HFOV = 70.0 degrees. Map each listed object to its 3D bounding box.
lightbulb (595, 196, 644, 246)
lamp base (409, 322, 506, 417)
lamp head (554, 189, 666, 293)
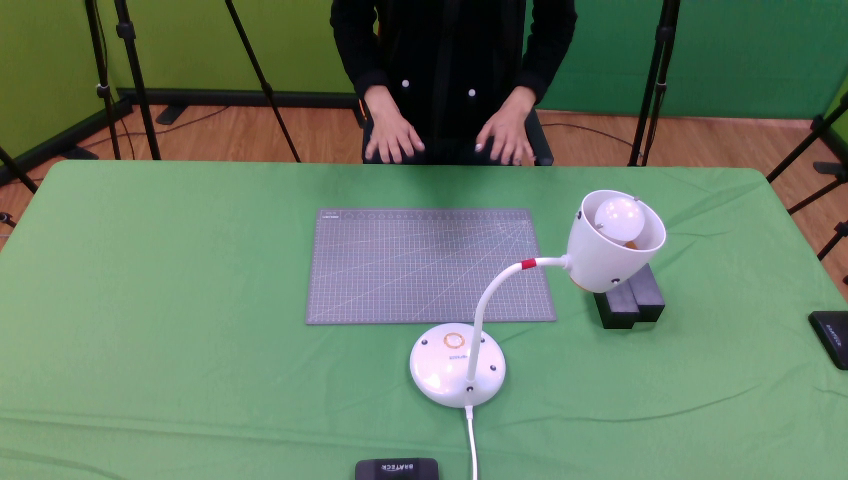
[{"bbox_3d":[0.244,-0.008,0.784,0.059,0.108,0.059,8,40,-7],"label":"lightbulb"},{"bbox_3d":[0.063,0.160,0.941,0.161,0.181,0.178,-10,50,-13],"label":"lamp base"},{"bbox_3d":[0.234,0.012,0.796,0.113,0.123,0.111,13,43,-13],"label":"lamp head"}]
